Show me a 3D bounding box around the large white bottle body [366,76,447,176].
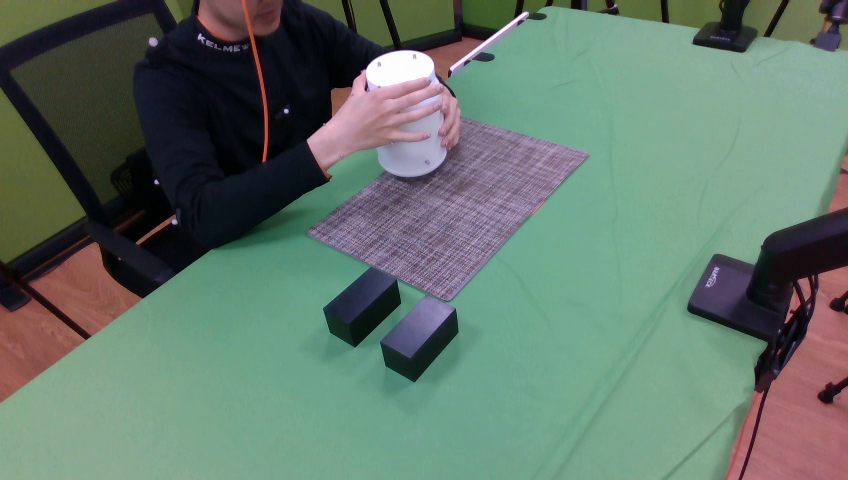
[{"bbox_3d":[-0.030,-0.220,1.062,0.130,0.185,0.130,-4,46,4],"label":"large white bottle body"}]

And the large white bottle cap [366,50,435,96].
[{"bbox_3d":[-0.039,-0.278,1.002,0.115,0.018,0.114,-3,46,4],"label":"large white bottle cap"}]
